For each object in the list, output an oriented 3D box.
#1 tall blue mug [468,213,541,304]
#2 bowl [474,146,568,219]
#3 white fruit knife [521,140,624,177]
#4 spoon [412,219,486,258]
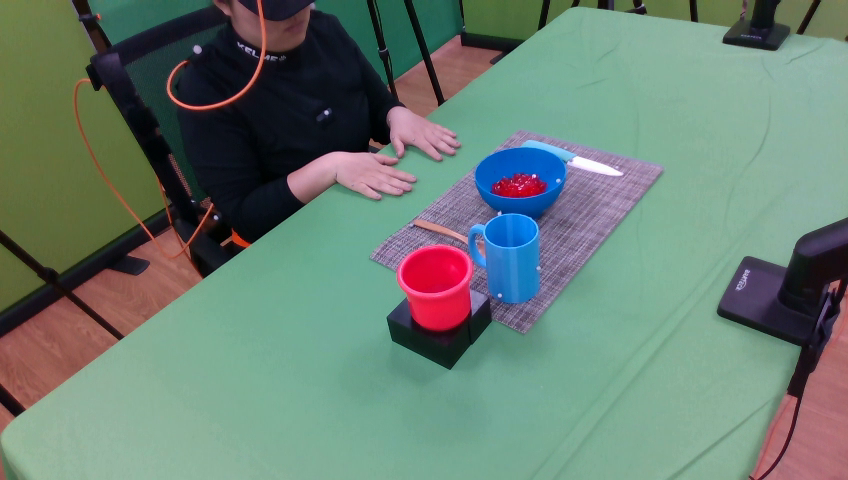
[{"bbox_3d":[0.111,0.026,0.856,0.107,0.108,0.077,2,42,13],"label":"tall blue mug"},{"bbox_3d":[0.161,-0.083,1.001,0.151,0.077,0.150,-5,40,5],"label":"bowl"},{"bbox_3d":[0.270,-0.149,1.110,0.206,0.016,0.027,25,80,32],"label":"white fruit knife"},{"bbox_3d":[0.054,-0.005,0.971,0.192,0.022,0.041,25,68,33],"label":"spoon"}]
